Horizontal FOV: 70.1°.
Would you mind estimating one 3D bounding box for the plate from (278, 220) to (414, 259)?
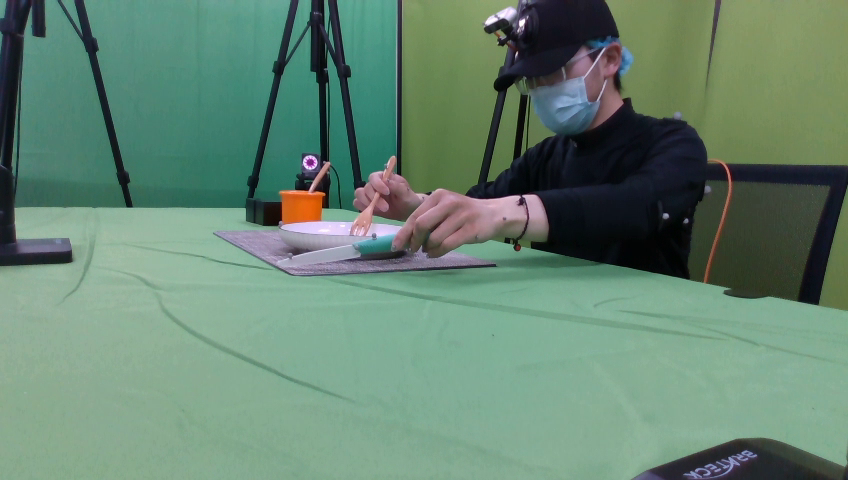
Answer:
[{"bbox_3d":[-0.114,-0.002,0.914,0.209,0.038,0.209,2,7,0],"label":"plate"}]

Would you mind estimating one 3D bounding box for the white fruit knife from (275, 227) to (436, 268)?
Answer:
[{"bbox_3d":[-0.083,0.010,0.766,0.208,0.027,0.016,-11,37,-16],"label":"white fruit knife"}]

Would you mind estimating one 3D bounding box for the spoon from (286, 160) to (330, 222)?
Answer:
[{"bbox_3d":[-0.233,-0.101,1.252,0.041,0.193,0.022,3,-38,23],"label":"spoon"}]

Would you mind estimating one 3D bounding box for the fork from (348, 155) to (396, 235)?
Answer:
[{"bbox_3d":[-0.080,-0.071,0.982,0.028,0.018,0.207,15,47,6],"label":"fork"}]
